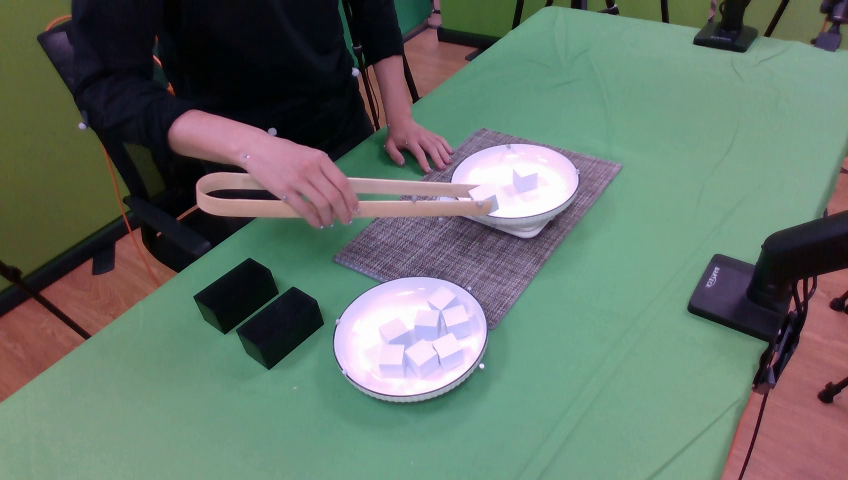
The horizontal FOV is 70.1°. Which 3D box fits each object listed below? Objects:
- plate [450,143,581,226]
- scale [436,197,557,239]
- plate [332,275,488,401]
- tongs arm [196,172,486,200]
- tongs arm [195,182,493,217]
[{"bbox_3d":[0.148,-0.087,0.986,0.209,0.038,0.208,-4,41,4],"label":"plate"},{"bbox_3d":[0.132,-0.075,1.025,0.199,0.032,0.149,22,48,30],"label":"scale"},{"bbox_3d":[-0.017,0.131,0.808,0.207,0.039,0.206,-4,40,4],"label":"plate"},{"bbox_3d":[-0.098,-0.068,0.812,0.390,0.028,0.028,1,46,-17],"label":"tongs arm"},{"bbox_3d":[-0.093,-0.053,0.795,0.387,0.026,0.050,-2,43,-21],"label":"tongs arm"}]
